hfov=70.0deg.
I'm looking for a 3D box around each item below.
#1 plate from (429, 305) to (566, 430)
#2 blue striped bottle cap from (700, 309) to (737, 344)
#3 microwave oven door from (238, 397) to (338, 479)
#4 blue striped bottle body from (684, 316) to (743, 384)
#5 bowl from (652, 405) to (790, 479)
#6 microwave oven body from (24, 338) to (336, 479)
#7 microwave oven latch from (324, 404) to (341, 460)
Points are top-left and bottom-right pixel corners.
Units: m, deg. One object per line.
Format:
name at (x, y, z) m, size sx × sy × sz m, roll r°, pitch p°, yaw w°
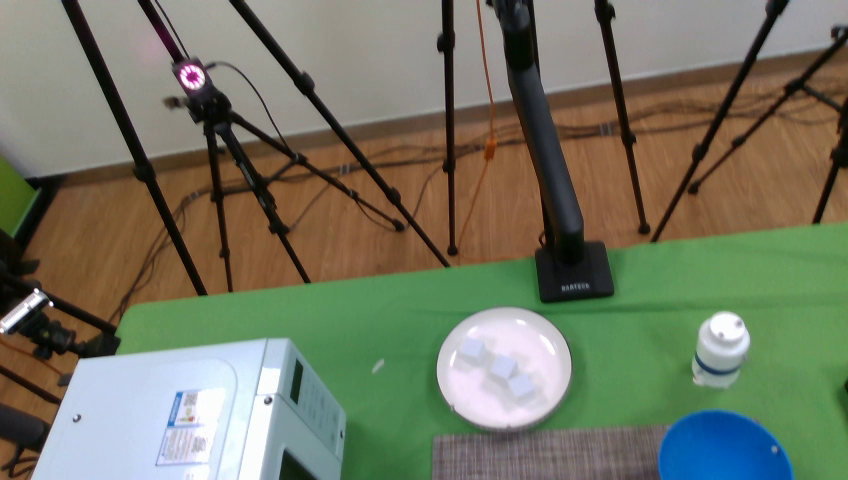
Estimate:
plate at (0.112, 0.196, 0.930) m, size 0.207 × 0.039 × 0.205 m, roll -7°, pitch 50°, yaw 9°
blue striped bottle cap at (0.387, 0.113, 0.795) m, size 0.044 × 0.021 × 0.044 m, roll -7°, pitch 50°, yaw 8°
microwave oven door at (-0.165, 0.391, 0.688) m, size 0.039 × 0.246 × 0.352 m, roll -8°, pitch 50°, yaw 9°
blue striped bottle body at (0.399, 0.145, 0.834) m, size 0.063 × 0.122 × 0.062 m, roll -8°, pitch 50°, yaw 10°
bowl at (0.359, 0.291, 0.749) m, size 0.151 × 0.077 × 0.150 m, roll -8°, pitch 50°, yaw 10°
microwave oven body at (-0.307, 0.383, 0.741) m, size 0.325 × 0.263 × 0.437 m, roll -8°, pitch 51°, yaw 9°
microwave oven latch at (-0.141, 0.287, 0.902) m, size 0.030 × 0.030 × 0.078 m, roll -8°, pitch 51°, yaw 9°
